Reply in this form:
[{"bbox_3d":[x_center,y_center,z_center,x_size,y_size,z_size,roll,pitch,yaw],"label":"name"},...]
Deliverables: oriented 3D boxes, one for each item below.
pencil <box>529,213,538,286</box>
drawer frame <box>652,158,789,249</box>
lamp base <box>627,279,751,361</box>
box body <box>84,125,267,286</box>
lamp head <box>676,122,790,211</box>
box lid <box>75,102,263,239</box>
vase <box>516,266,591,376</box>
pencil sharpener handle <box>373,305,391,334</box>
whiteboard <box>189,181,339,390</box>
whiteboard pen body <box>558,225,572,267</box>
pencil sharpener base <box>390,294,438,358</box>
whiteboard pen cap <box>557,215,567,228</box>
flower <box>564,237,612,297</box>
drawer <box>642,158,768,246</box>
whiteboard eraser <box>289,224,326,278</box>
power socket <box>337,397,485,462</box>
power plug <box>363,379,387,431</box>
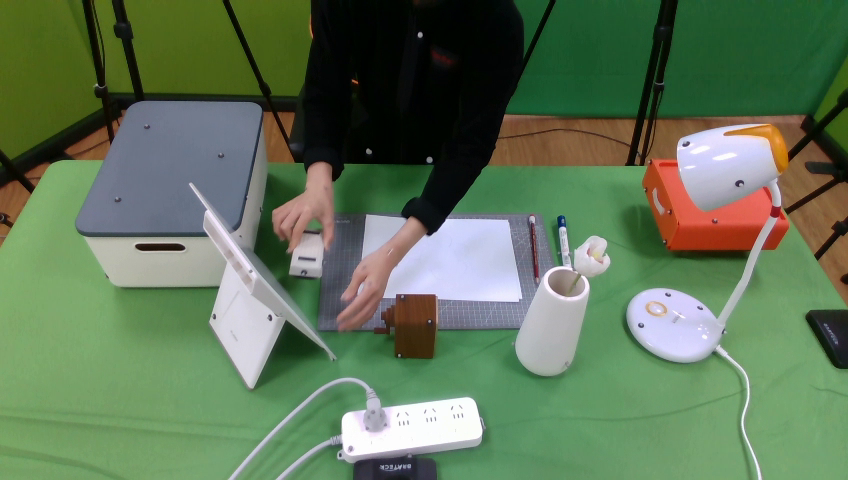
[{"bbox_3d":[0.219,0.016,1.204,0.012,0.012,0.193,5,48,0],"label":"pencil"},{"bbox_3d":[0.571,-0.075,1.214,0.214,0.083,0.200,0,45,-1],"label":"drawer frame"},{"bbox_3d":[0.459,0.100,1.027,0.178,0.181,0.160,27,51,17],"label":"lamp base"},{"bbox_3d":[-0.446,-0.088,1.150,0.254,0.161,0.361,-1,46,-5],"label":"box body"},{"bbox_3d":[0.423,-0.104,0.819,0.122,0.113,0.112,-13,33,40],"label":"lamp head"},{"bbox_3d":[-0.442,-0.138,1.094,0.263,0.015,0.369,-1,47,-5],"label":"box lid"},{"bbox_3d":[0.208,0.132,0.964,0.098,0.201,0.097,3,46,-3],"label":"vase"},{"bbox_3d":[-0.069,0.133,0.989,0.030,0.068,0.036,1,48,-2],"label":"pencil sharpener handle"},{"bbox_3d":[-0.292,0.096,0.929,0.144,0.307,0.216,-37,57,-10],"label":"whiteboard"},{"bbox_3d":[0.280,0.010,1.207,0.017,0.017,0.140,3,50,-1],"label":"whiteboard pen body"},{"bbox_3d":[-0.018,0.143,1.000,0.077,0.107,0.061,1,46,-2],"label":"pencil sharpener base"},{"bbox_3d":[0.284,-0.035,1.245,0.018,0.018,0.033,4,52,-1],"label":"whiteboard pen cap"},{"bbox_3d":[0.206,0.088,0.893,0.038,0.363,0.044,-16,67,-9],"label":"flower"},{"bbox_3d":[0.566,-0.076,1.211,0.212,0.073,0.193,2,45,-2],"label":"drawer"},{"bbox_3d":[-0.207,0.021,1.083,0.055,0.042,0.112,3,42,-5],"label":"whiteboard eraser"},{"bbox_3d":[-0.018,0.285,0.915,0.227,0.033,0.071,-5,46,-8],"label":"power socket"},{"bbox_3d":[-0.072,0.252,0.910,0.035,0.053,0.072,3,45,-1],"label":"power plug"}]
